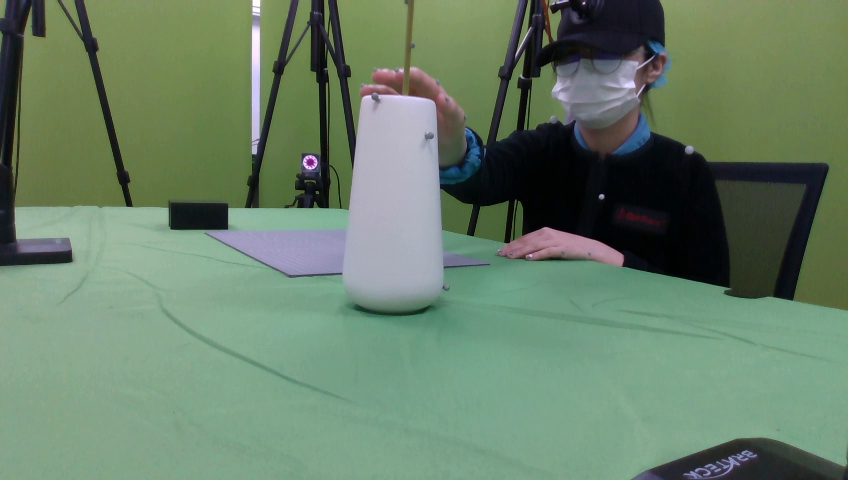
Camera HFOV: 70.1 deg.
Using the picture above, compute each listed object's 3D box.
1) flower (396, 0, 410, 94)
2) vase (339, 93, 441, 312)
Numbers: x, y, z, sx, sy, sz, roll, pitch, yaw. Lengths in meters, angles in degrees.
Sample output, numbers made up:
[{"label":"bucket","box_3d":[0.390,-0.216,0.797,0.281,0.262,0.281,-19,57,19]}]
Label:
[{"label":"flower","box_3d":[-0.023,-0.113,0.546,0.044,0.361,0.038,7,25,2]},{"label":"vase","box_3d":[-0.032,-0.035,0.577,0.098,0.200,0.098,0,7,0]}]
